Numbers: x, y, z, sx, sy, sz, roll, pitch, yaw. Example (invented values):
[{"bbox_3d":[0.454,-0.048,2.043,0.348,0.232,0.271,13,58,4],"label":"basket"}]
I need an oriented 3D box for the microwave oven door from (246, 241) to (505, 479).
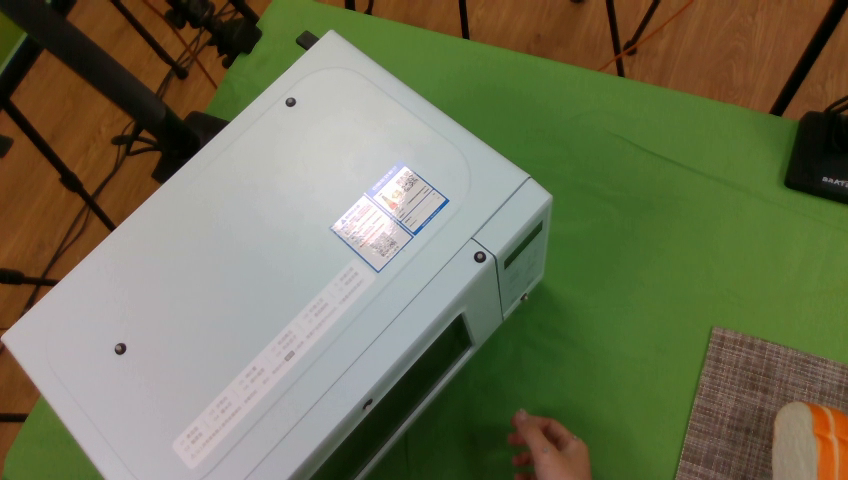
[{"bbox_3d":[-0.052,0.169,0.603,0.039,0.246,0.355,40,80,21],"label":"microwave oven door"}]

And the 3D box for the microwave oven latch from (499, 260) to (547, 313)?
[{"bbox_3d":[0.114,0.050,0.732,0.079,0.030,0.030,-45,70,-8],"label":"microwave oven latch"}]

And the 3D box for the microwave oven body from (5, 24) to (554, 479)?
[{"bbox_3d":[-0.127,0.053,0.664,0.323,0.262,0.441,40,81,19],"label":"microwave oven body"}]
